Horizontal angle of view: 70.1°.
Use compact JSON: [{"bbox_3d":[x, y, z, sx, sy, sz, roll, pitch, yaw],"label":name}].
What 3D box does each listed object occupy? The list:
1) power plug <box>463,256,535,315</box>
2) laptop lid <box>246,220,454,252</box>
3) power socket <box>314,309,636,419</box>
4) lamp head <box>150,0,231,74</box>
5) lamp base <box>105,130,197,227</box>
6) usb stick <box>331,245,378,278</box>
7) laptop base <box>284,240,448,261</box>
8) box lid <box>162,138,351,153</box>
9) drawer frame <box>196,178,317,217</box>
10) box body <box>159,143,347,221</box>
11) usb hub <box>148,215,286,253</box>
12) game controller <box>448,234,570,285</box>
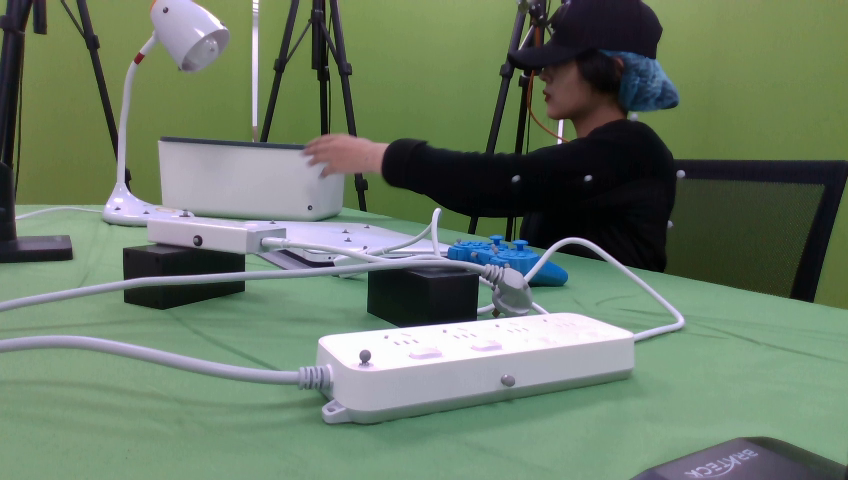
[{"bbox_3d":[0.064,0.039,0.530,0.072,0.052,0.035,32,43,7],"label":"power plug"},{"bbox_3d":[-0.123,-0.009,0.945,0.243,0.013,0.355,1,7,-29],"label":"laptop lid"},{"bbox_3d":[0.039,0.072,0.385,0.228,0.032,0.072,-2,7,-28],"label":"power socket"},{"bbox_3d":[-0.432,-0.374,1.086,0.123,0.112,0.112,42,8,-2],"label":"lamp head"},{"bbox_3d":[-0.532,-0.120,1.153,0.179,0.180,0.161,1,7,8],"label":"lamp base"},{"bbox_3d":[-0.085,0.026,0.701,0.059,0.027,0.021,-18,17,26],"label":"usb stick"},{"bbox_3d":[-0.125,0.002,0.945,0.237,0.023,0.352,2,6,-31],"label":"laptop base"},{"bbox_3d":[-0.371,-0.215,1.394,0.371,0.015,0.263,4,8,7],"label":"box lid"},{"bbox_3d":[-0.376,-0.101,1.393,0.213,0.082,0.202,1,8,6],"label":"drawer frame"},{"bbox_3d":[-0.384,-0.137,1.406,0.364,0.160,0.254,3,8,7],"label":"box body"},{"bbox_3d":[-0.197,-0.006,0.575,0.125,0.025,0.050,6,6,22],"label":"usb hub"},{"bbox_3d":[0.099,0.021,0.756,0.097,0.051,0.154,-7,10,-29],"label":"game controller"}]
